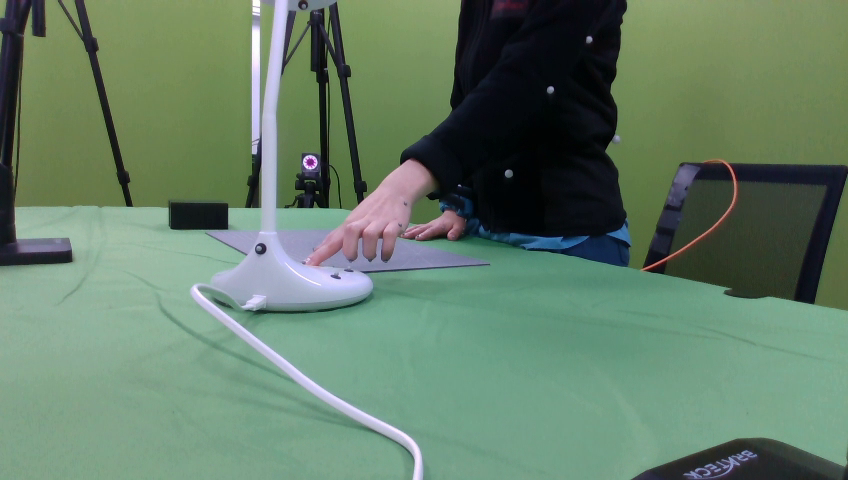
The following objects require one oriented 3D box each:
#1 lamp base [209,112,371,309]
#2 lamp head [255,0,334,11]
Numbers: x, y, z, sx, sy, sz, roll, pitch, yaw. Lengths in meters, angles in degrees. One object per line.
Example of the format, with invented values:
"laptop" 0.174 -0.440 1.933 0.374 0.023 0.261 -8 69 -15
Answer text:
"lamp base" -0.133 -0.032 0.594 0.160 0.180 0.179 2 10 3
"lamp head" -0.141 -0.318 0.630 0.113 0.112 0.123 1 -32 -9
